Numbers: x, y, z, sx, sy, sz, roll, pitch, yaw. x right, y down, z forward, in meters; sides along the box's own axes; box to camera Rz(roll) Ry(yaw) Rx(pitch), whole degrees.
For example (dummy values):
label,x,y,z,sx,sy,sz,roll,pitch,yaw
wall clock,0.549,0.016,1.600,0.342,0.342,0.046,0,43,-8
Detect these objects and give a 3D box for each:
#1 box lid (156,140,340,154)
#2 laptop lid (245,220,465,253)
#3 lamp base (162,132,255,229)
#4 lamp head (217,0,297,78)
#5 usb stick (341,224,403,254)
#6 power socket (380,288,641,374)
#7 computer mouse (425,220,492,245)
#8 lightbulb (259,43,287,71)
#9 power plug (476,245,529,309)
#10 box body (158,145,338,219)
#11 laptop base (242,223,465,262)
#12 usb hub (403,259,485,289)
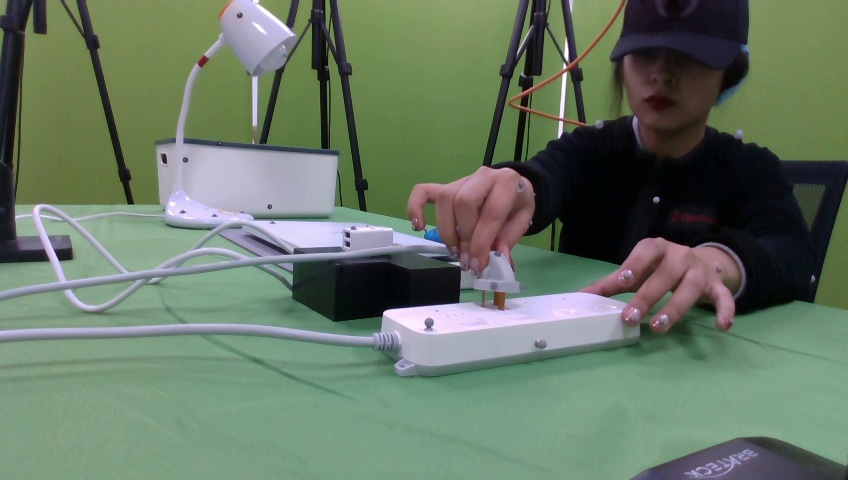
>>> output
label,x,y,z,sx,sy,sz,roll,pitch,yaw
box lid,-0.409,-0.212,1.404,0.373,0.015,0.262,-2,8,-32
laptop lid,-0.124,-0.009,0.945,0.243,0.013,0.355,1,7,-29
lamp base,-0.419,-0.116,1.156,0.179,0.180,0.160,0,8,0
lamp head,-0.315,-0.372,1.102,0.123,0.112,0.112,41,3,-9
usb stick,-0.047,-0.001,0.567,0.059,0.027,0.021,1,5,-32
power socket,0.072,0.064,0.461,0.228,0.032,0.072,-3,8,-30
computer mouse,0.060,-0.013,1.059,0.117,0.041,0.062,-3,10,-5
lightbulb,-0.295,-0.357,1.101,0.059,0.107,0.059,-38,2,2
power plug,0.051,0.031,0.445,0.035,0.052,0.073,-19,-8,34
box body,-0.410,-0.139,1.414,0.366,0.160,0.253,-3,9,-33
laptop base,-0.126,0.003,0.945,0.237,0.023,0.352,2,6,-31
usb hub,0.042,0.038,0.689,0.126,0.025,0.049,-2,9,-29
